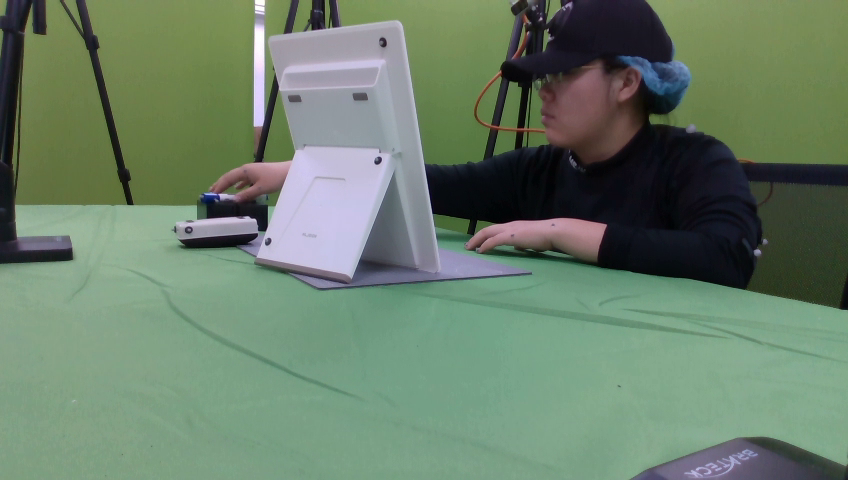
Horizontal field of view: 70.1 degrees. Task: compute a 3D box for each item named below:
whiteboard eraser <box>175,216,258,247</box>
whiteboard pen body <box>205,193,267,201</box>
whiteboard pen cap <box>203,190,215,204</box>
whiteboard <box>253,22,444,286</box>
[{"bbox_3d":[-0.314,-0.012,0.915,0.113,0.042,0.055,-5,12,-30],"label":"whiteboard eraser"},{"bbox_3d":[-0.355,-0.082,1.146,0.017,0.017,0.141,8,8,33],"label":"whiteboard pen body"},{"bbox_3d":[-0.389,-0.077,1.093,0.018,0.018,0.033,2,25,-7],"label":"whiteboard pen cap"},{"bbox_3d":[-0.125,-0.081,0.715,0.216,0.305,0.144,9,29,36],"label":"whiteboard"}]
